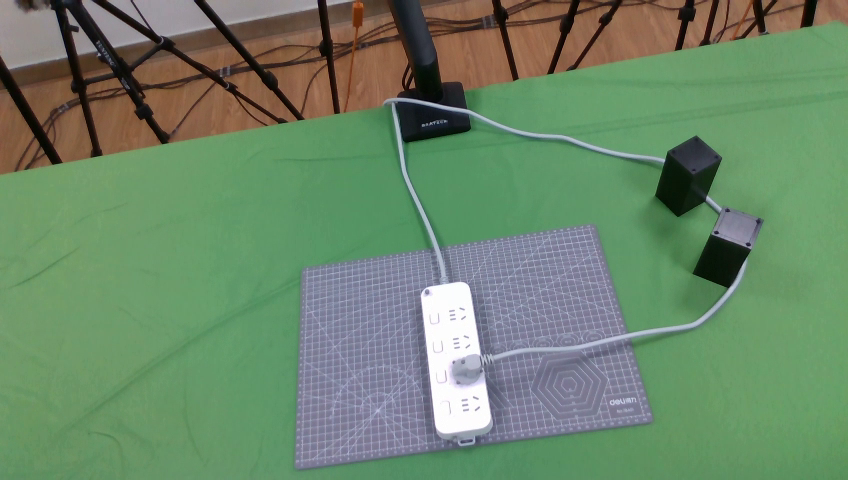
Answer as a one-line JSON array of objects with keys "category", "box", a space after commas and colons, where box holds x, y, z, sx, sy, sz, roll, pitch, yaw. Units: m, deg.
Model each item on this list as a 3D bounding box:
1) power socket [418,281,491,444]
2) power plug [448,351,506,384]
[{"category": "power socket", "box": [0.037, 0.152, 0.802, 0.072, 0.033, 0.224, -9, 56, 2]}, {"category": "power plug", "box": [0.067, 0.165, 0.767, 0.072, 0.053, 0.035, 1, 58, 7]}]
